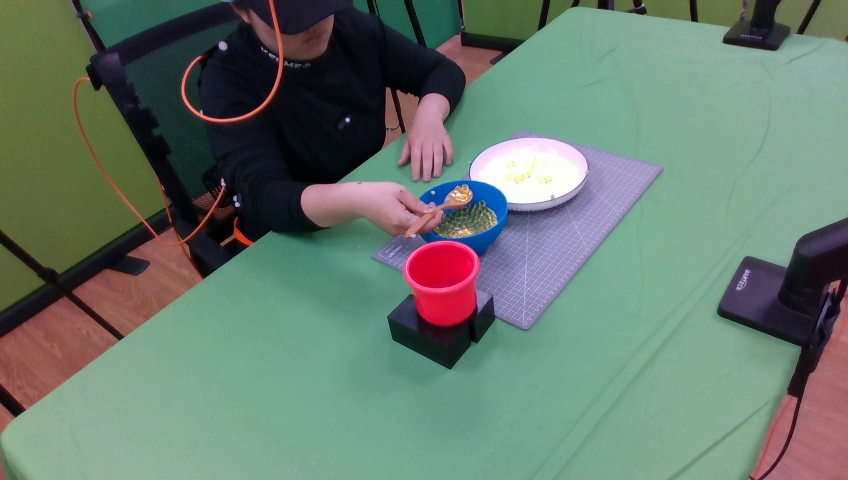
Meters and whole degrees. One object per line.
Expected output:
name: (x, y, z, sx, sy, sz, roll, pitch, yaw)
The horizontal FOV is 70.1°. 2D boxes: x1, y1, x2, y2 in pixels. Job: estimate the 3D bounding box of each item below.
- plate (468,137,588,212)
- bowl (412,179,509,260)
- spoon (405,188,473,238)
plate: (0.182, -0.112, 1.064, 0.207, 0.039, 0.206, -5, 40, 5)
bowl: (0.060, -0.022, 0.948, 0.151, 0.077, 0.150, -5, 40, 5)
spoon: (0.021, -0.043, 0.886, 0.041, 0.021, 0.194, 16, 26, 24)
